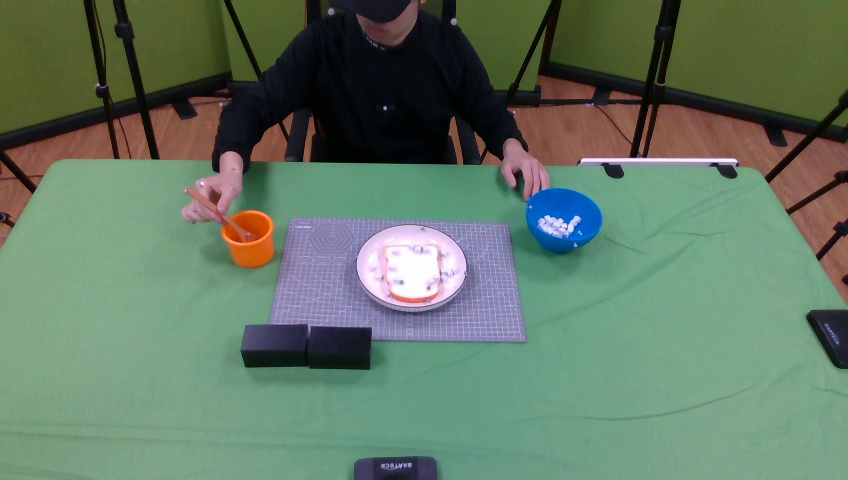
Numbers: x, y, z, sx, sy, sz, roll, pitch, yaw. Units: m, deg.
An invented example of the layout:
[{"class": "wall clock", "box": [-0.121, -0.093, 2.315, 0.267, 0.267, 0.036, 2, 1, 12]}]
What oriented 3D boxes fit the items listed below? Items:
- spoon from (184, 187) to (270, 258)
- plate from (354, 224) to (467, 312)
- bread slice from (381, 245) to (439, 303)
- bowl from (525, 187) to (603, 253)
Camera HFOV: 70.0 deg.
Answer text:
[{"class": "spoon", "box": [-0.356, -0.033, 1.102, 0.021, 0.195, 0.041, -12, 43, 38]}, {"class": "plate", "box": [-0.025, 0.055, 1.128, 0.209, 0.038, 0.208, 3, 46, -3]}, {"class": "bread slice", "box": [-0.022, 0.061, 1.126, 0.107, 0.018, 0.133, -3, 45, -8]}, {"class": "bowl", "box": [0.271, -0.028, 1.207, 0.151, 0.077, 0.150, 3, 46, -2]}]
